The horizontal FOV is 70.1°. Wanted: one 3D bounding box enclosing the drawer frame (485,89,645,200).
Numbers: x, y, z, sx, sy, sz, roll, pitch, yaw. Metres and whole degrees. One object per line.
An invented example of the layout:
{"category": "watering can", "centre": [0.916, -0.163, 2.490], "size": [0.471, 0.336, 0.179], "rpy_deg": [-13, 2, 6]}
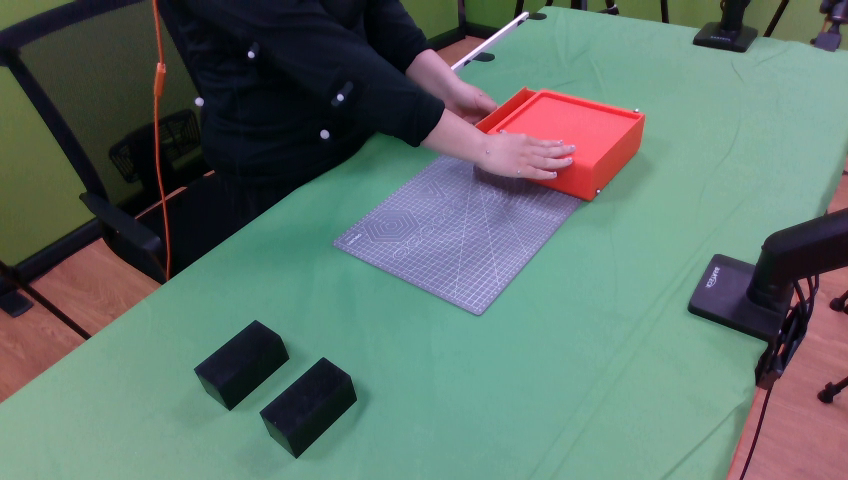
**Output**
{"category": "drawer frame", "centre": [0.253, -0.179, 1.094], "size": [0.212, 0.083, 0.202], "rpy_deg": [24, 48, 31]}

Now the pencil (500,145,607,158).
{"category": "pencil", "centre": [0.238, -0.161, 1.114], "size": [0.194, 0.012, 0.012], "rpy_deg": [-4, 40, 7]}

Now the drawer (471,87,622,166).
{"category": "drawer", "centre": [0.224, -0.190, 1.112], "size": [0.210, 0.073, 0.195], "rpy_deg": [24, 48, 30]}
